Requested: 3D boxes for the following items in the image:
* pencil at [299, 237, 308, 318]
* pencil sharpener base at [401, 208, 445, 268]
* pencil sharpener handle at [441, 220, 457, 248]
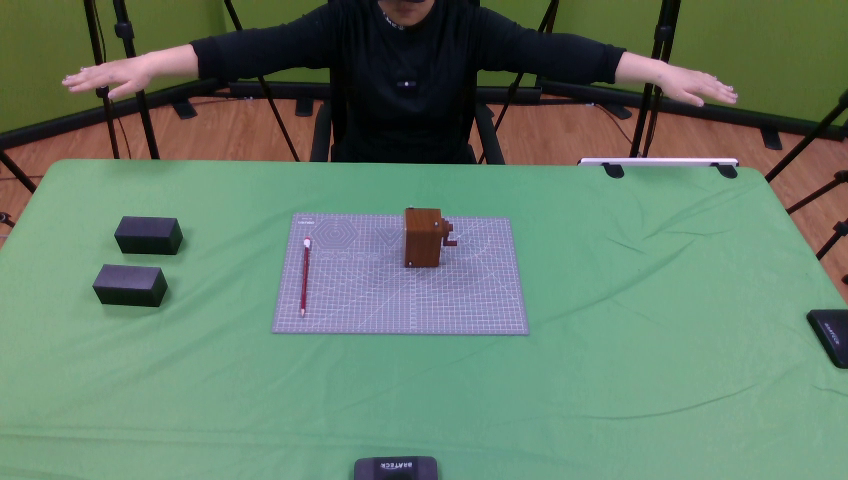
[{"bbox_3d":[-0.223,0.066,1.120,0.012,0.012,0.192,-1,47,-6],"label":"pencil"},{"bbox_3d":[-0.003,-0.003,1.137,0.077,0.107,0.061,0,45,-5],"label":"pencil sharpener base"},{"bbox_3d":[0.049,-0.012,1.132,0.031,0.068,0.036,0,46,-5],"label":"pencil sharpener handle"}]
